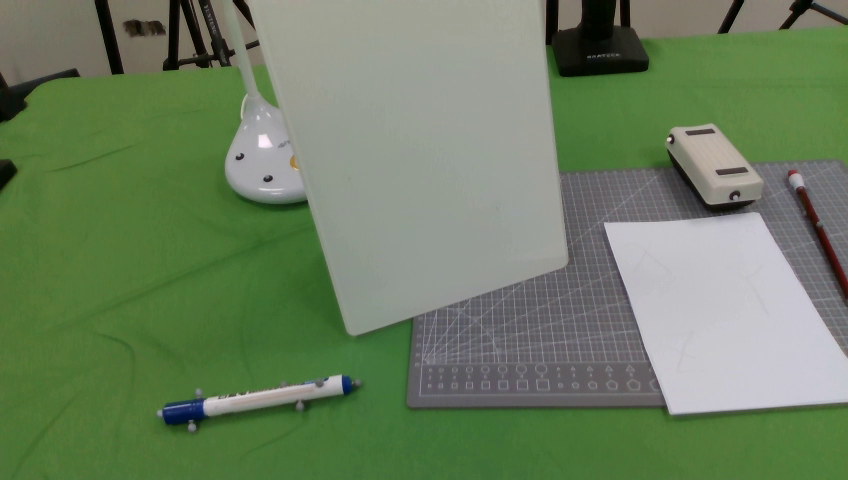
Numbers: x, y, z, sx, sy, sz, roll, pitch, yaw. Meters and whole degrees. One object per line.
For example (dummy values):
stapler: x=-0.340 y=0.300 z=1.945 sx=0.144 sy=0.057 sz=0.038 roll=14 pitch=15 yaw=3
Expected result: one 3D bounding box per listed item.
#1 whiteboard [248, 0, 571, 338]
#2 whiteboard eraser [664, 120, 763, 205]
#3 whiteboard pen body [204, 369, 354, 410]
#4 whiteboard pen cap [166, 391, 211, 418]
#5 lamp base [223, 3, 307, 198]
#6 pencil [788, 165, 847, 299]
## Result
whiteboard: x=-0.011 y=-0.105 z=0.547 sx=0.217 sy=0.308 sz=0.142 roll=-17 pitch=25 yaw=-9
whiteboard eraser: x=0.296 y=-0.081 z=0.628 sx=0.055 sy=0.042 sz=0.111 roll=-9 pitch=43 yaw=0
whiteboard pen body: x=-0.127 y=0.123 z=0.489 sx=0.141 sy=0.017 sz=0.017 roll=-9 pitch=43 yaw=-2
whiteboard pen cap: x=-0.187 y=0.131 z=0.486 sx=0.033 sy=0.018 sz=0.018 roll=-10 pitch=43 yaw=-2
lamp base: x=-0.173 y=-0.164 z=0.680 sx=0.177 sy=0.182 sz=0.160 roll=29 pitch=54 yaw=36
pencil: x=0.372 y=-0.008 z=0.566 sx=0.012 sy=0.012 sz=0.192 roll=1 pitch=45 yaw=9
